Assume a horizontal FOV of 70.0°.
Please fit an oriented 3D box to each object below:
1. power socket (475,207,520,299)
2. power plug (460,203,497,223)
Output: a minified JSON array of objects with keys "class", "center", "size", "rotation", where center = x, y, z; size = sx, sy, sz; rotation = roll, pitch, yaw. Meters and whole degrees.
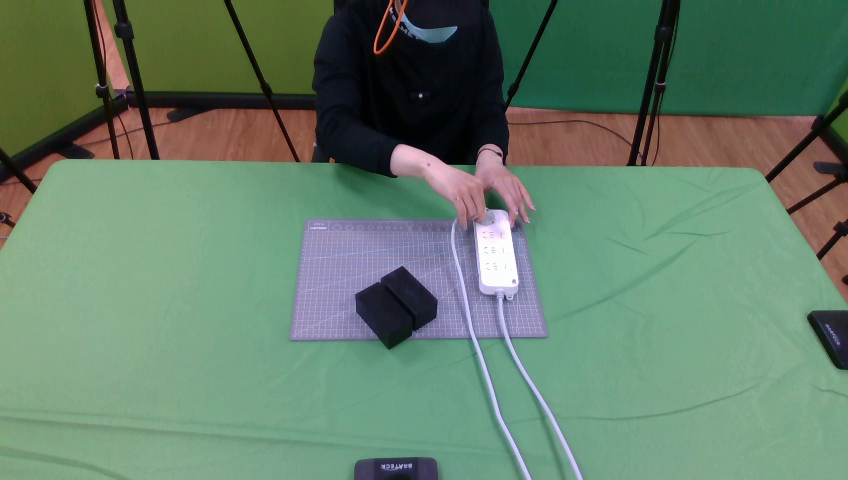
[{"class":"power socket","center":[0.140,0.016,1.174],"size":[0.072,0.033,0.225],"rotation":[1,47,-1]},{"class":"power plug","center":[0.110,-0.052,1.211],"size":[0.072,0.053,0.035],"rotation":[8,48,8]}]
